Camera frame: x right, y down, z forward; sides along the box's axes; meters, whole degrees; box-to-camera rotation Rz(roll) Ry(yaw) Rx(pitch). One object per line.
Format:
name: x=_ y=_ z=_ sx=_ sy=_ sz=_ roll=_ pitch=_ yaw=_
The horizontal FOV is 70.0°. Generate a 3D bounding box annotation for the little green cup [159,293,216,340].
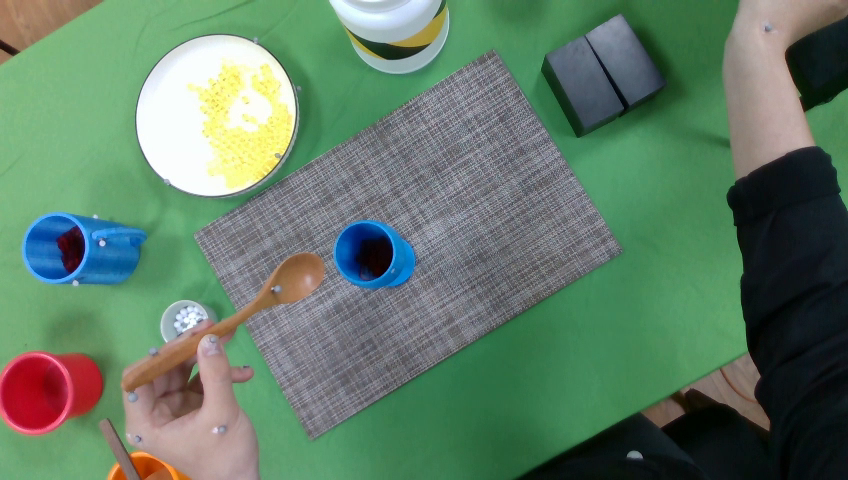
little green cup: x=-0.292 y=0.096 z=0.756 sx=0.061 sy=0.039 sz=0.061 roll=0 pitch=88 yaw=5

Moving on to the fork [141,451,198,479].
fork: x=-0.366 y=0.292 z=0.696 sx=0.208 sy=0.018 sz=0.028 roll=-13 pitch=90 yaw=-40

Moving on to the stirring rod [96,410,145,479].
stirring rod: x=-0.328 y=0.273 z=0.691 sx=0.014 sy=0.006 sz=0.175 roll=-32 pitch=85 yaw=3

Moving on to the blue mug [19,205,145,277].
blue mug: x=-0.401 y=-0.001 z=0.736 sx=0.116 sy=0.106 sz=0.082 roll=-18 pitch=85 yaw=3

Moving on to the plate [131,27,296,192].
plate: x=-0.262 y=-0.162 z=0.768 sx=0.209 sy=0.038 sz=0.209 roll=0 pitch=87 yaw=4

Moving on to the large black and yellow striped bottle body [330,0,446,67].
large black and yellow striped bottle body: x=-0.044 y=-0.289 z=0.685 sx=0.131 sy=0.184 sz=0.130 roll=0 pitch=87 yaw=5

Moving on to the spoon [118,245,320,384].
spoon: x=-0.143 y=0.052 z=0.457 sx=0.021 sy=0.193 sz=0.042 roll=7 pitch=115 yaw=25

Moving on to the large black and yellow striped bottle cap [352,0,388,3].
large black and yellow striped bottle cap: x=-0.052 y=-0.294 z=0.602 sx=0.115 sy=0.019 sz=0.114 roll=0 pitch=86 yaw=4

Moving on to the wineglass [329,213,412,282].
wineglass: x=-0.054 y=0.011 z=0.672 sx=0.073 sy=0.172 sz=0.073 roll=0 pitch=86 yaw=5
